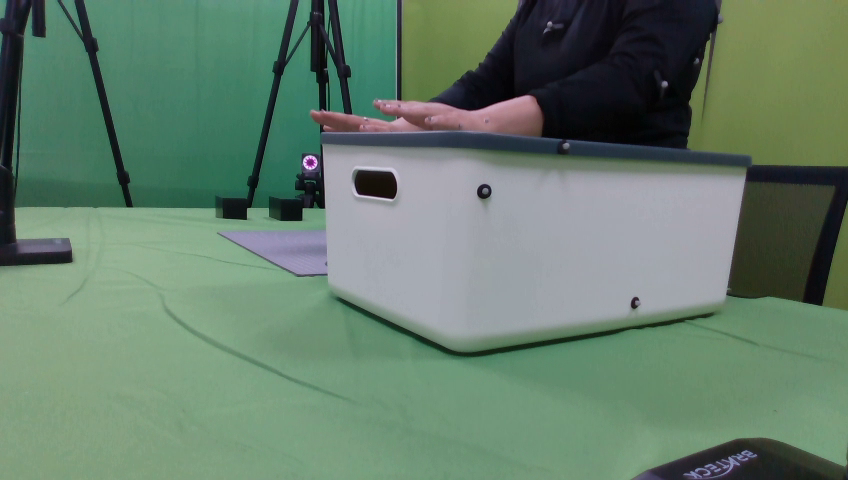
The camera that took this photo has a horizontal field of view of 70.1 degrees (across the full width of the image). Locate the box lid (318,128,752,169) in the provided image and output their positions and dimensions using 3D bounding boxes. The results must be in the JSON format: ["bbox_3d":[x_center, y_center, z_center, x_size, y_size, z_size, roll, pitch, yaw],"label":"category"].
[{"bbox_3d":[0.107,-0.085,0.593,0.373,0.015,0.262,-1,8,-34],"label":"box lid"}]

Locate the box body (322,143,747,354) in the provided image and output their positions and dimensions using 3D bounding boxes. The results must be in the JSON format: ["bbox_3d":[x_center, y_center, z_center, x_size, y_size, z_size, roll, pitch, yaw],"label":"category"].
[{"bbox_3d":[0.106,-0.012,0.603,0.366,0.160,0.253,-2,8,-34],"label":"box body"}]
